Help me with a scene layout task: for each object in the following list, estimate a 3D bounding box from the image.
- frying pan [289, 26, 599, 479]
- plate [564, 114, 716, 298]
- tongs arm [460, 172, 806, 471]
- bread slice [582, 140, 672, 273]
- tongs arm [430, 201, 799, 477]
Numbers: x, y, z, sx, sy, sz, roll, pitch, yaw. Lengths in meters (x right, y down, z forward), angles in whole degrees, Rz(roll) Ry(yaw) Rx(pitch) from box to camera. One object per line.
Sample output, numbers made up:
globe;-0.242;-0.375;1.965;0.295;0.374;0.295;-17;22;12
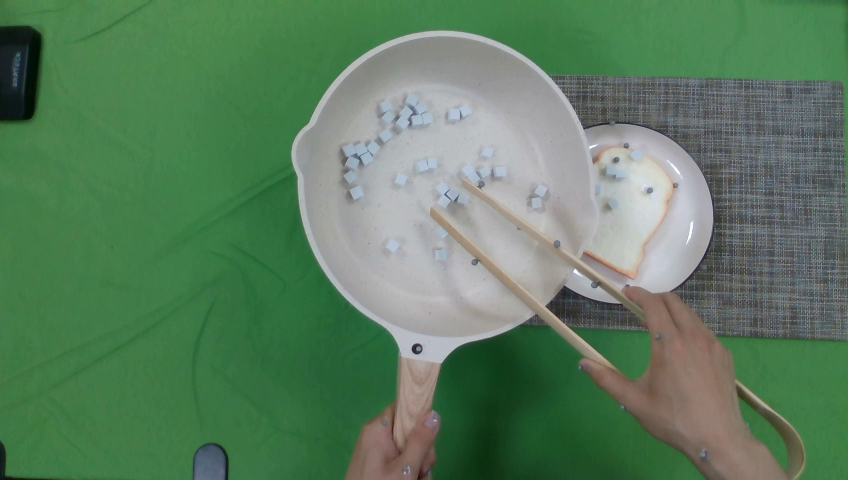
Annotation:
frying pan;0.005;0.047;0.576;0.308;0.102;0.486;12;79;-14
plate;0.218;-0.037;0.688;0.207;0.039;0.207;0;84;4
tongs arm;0.171;0.062;0.554;0.382;0.027;0.050;37;76;15
bread slice;0.216;-0.045;0.691;0.107;0.018;0.134;25;87;5
tongs arm;0.151;0.082;0.548;0.385;0.028;0.028;39;73;16
